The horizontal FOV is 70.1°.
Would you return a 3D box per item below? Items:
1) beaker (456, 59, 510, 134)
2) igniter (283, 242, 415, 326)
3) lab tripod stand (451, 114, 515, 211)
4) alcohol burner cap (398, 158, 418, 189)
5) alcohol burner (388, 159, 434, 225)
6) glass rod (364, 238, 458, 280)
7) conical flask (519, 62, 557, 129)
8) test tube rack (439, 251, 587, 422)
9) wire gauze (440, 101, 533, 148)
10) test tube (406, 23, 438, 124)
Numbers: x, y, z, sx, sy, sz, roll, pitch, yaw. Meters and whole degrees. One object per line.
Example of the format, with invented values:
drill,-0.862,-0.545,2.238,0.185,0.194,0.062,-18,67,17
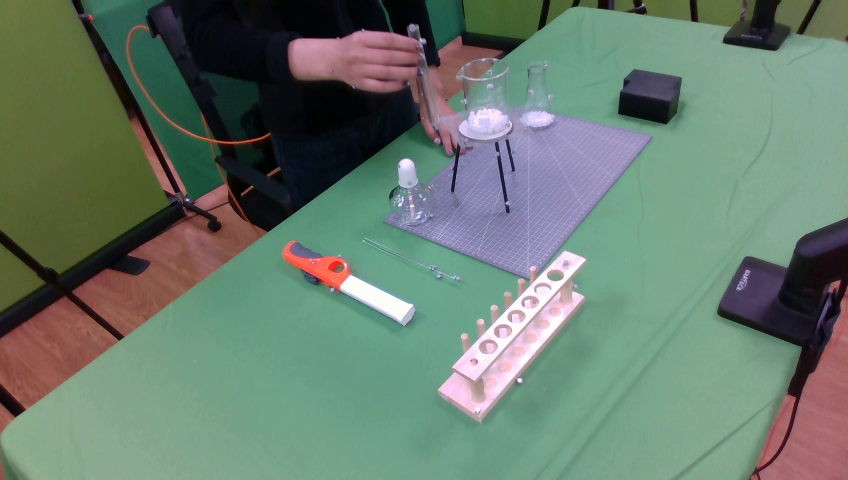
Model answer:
beaker,0.098,-0.226,0.964,0.084,0.101,0.073,-7,39,4
igniter,-0.126,0.062,0.931,0.274,0.025,0.057,24,61,33
lab tripod stand,0.113,-0.140,1.037,0.148,0.132,0.147,-6,38,5
alcohol burner cap,-0.028,-0.111,0.989,0.034,0.048,0.033,-3,47,4
alcohol burner,-0.023,-0.084,1.013,0.078,0.119,0.077,-4,38,4
glass rod,-0.026,0.029,0.966,0.198,0.008,0.008,21,49,35
conical flask,0.225,-0.288,1.199,0.075,0.122,0.075,-6,40,5
test tube rack,0.118,0.111,0.780,0.066,0.085,0.243,26,51,35
wire gauze,0.100,-0.189,0.995,0.125,0.011,0.120,-16,37,-6
test tube,-0.001,-0.229,0.849,0.017,0.151,0.017,-10,39,8
